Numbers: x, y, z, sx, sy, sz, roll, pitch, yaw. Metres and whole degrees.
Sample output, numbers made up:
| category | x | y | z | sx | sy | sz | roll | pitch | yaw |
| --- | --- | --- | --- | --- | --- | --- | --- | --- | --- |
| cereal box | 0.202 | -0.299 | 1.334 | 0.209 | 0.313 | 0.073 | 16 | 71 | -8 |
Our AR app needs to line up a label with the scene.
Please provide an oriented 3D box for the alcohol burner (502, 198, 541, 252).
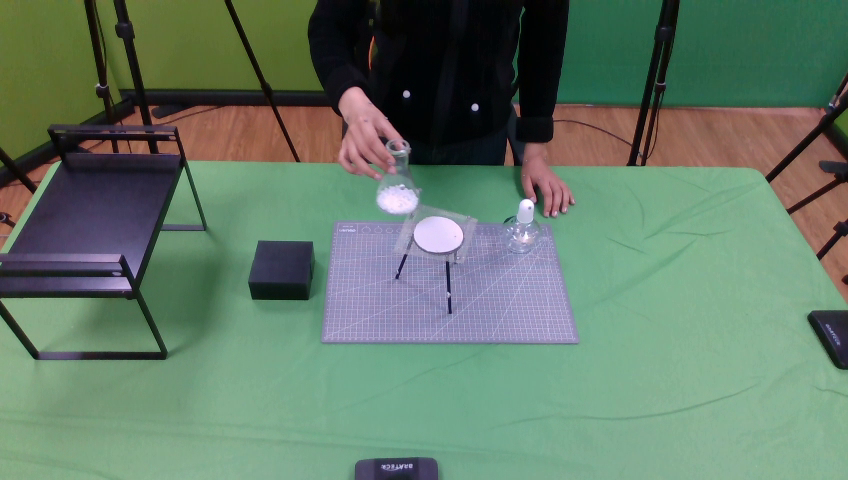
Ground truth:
| category | x | y | z | sx | sy | sz | roll | pitch | yaw |
| --- | --- | --- | --- | --- | --- | --- | --- | --- | --- |
| alcohol burner | 0.192 | -0.033 | 1.178 | 0.078 | 0.119 | 0.077 | 2 | 44 | -2 |

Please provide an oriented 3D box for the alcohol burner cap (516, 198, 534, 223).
| category | x | y | z | sx | sy | sz | roll | pitch | yaw |
| --- | --- | --- | --- | --- | --- | --- | --- | --- | --- |
| alcohol burner cap | 0.194 | -0.059 | 1.152 | 0.034 | 0.048 | 0.033 | 0 | 50 | 1 |

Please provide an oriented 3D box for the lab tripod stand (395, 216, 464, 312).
| category | x | y | z | sx | sy | sz | roll | pitch | yaw |
| --- | --- | --- | --- | --- | --- | --- | --- | --- | --- |
| lab tripod stand | 0.023 | 0.036 | 1.084 | 0.148 | 0.132 | 0.147 | 4 | 46 | -4 |

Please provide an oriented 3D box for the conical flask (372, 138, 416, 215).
| category | x | y | z | sx | sy | sz | roll | pitch | yaw |
| --- | --- | --- | --- | --- | --- | --- | --- | --- | --- |
| conical flask | -0.048 | -0.107 | 0.987 | 0.075 | 0.122 | 0.075 | 2 | 46 | -1 |

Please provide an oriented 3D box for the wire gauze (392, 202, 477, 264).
| category | x | y | z | sx | sy | sz | roll | pitch | yaw |
| --- | --- | --- | --- | --- | --- | --- | --- | --- | --- |
| wire gauze | 0.021 | -0.012 | 1.037 | 0.121 | 0.011 | 0.124 | 13 | 47 | 8 |
